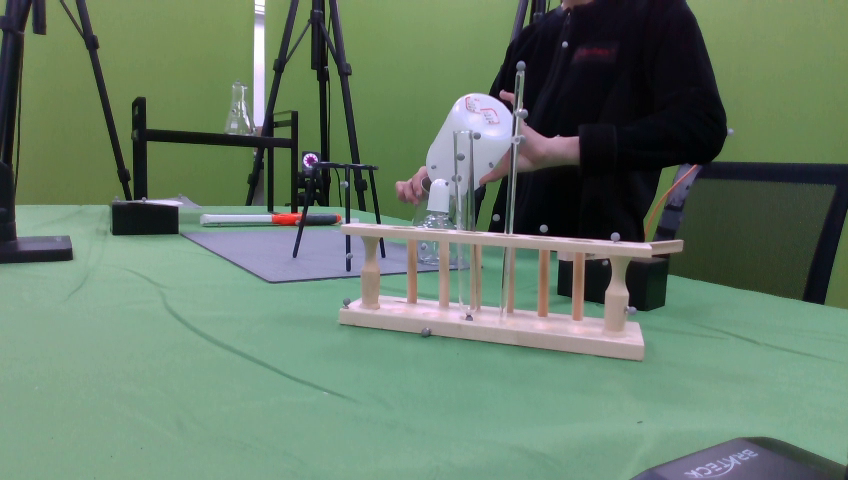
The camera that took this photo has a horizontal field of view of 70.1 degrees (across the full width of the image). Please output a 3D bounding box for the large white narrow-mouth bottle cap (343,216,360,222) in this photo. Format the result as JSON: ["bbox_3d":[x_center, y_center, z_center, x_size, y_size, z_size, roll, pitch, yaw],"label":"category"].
[{"bbox_3d":[-0.148,-0.036,1.234,0.038,0.024,0.037,2,8,0],"label":"large white narrow-mouth bottle cap"}]

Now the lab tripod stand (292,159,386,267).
[{"bbox_3d":[-0.105,-0.039,0.798,0.148,0.131,0.148,2,5,0],"label":"lab tripod stand"}]

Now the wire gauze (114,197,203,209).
[{"bbox_3d":[-0.447,-0.062,1.015,0.126,0.011,0.121,-2,8,-31],"label":"wire gauze"}]

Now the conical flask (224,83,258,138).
[{"bbox_3d":[-0.422,-0.299,1.395,0.075,0.122,0.075,2,7,0],"label":"conical flask"}]

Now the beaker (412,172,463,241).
[{"bbox_3d":[0.022,-0.054,1.036,0.074,0.100,0.083,1,38,-18],"label":"beaker"}]

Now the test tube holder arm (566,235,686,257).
[{"bbox_3d":[0.215,0.006,0.630,0.179,0.015,0.013,-3,10,-31],"label":"test tube holder arm"}]

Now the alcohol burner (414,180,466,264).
[{"bbox_3d":[0.021,-0.028,0.826,0.078,0.119,0.078,0,6,0],"label":"alcohol burner"}]

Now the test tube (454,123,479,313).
[{"bbox_3d":[0.034,-0.016,0.477,0.017,0.150,0.017,-2,9,1],"label":"test tube"}]

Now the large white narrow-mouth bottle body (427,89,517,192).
[{"bbox_3d":[0.060,-0.133,0.929,0.102,0.101,0.194,-1,-30,-24],"label":"large white narrow-mouth bottle body"}]

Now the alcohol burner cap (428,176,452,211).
[{"bbox_3d":[0.023,-0.064,0.822,0.034,0.048,0.034,7,5,0],"label":"alcohol burner cap"}]

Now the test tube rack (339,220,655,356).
[{"bbox_3d":[0.056,0.032,0.495,0.242,0.085,0.067,4,7,15],"label":"test tube rack"}]

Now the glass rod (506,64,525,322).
[{"bbox_3d":[0.069,-0.030,0.458,0.008,0.199,0.008,0,15,0],"label":"glass rod"}]

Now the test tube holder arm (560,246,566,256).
[{"bbox_3d":[0.173,0.007,0.612,0.088,0.015,0.010,-3,10,-30],"label":"test tube holder arm"}]

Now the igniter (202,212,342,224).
[{"bbox_3d":[-0.298,-0.044,1.216,0.278,0.025,0.057,-2,-2,-32],"label":"igniter"}]
